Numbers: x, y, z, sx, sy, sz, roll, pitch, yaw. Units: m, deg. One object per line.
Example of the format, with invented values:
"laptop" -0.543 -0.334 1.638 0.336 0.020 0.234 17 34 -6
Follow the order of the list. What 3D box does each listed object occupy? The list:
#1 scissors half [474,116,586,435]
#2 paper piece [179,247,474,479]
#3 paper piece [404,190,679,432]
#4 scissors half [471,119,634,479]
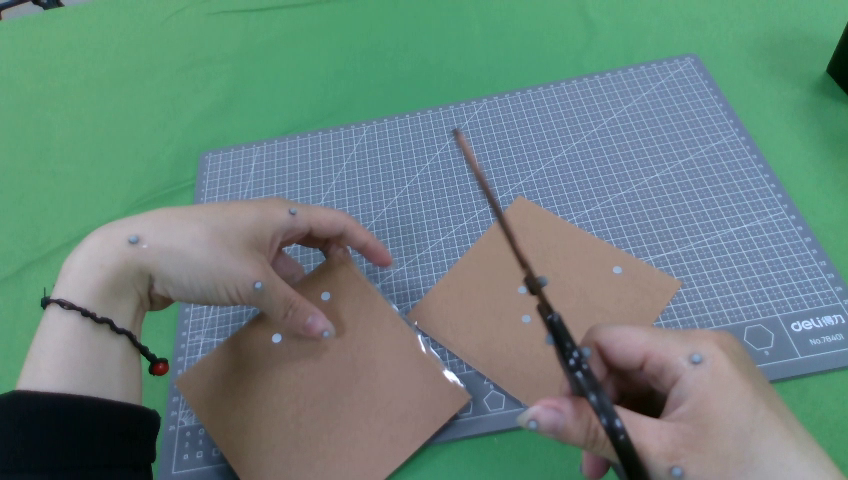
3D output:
"scissors half" 0.055 0.026 0.273 0.013 0.176 0.039 -21 21 9
"paper piece" -0.065 0.090 0.376 0.138 0.009 0.135 -40 65 -8
"paper piece" 0.078 0.038 0.409 0.134 0.004 0.135 33 66 29
"scissors half" 0.055 0.031 0.254 0.013 0.040 0.175 -23 97 3
